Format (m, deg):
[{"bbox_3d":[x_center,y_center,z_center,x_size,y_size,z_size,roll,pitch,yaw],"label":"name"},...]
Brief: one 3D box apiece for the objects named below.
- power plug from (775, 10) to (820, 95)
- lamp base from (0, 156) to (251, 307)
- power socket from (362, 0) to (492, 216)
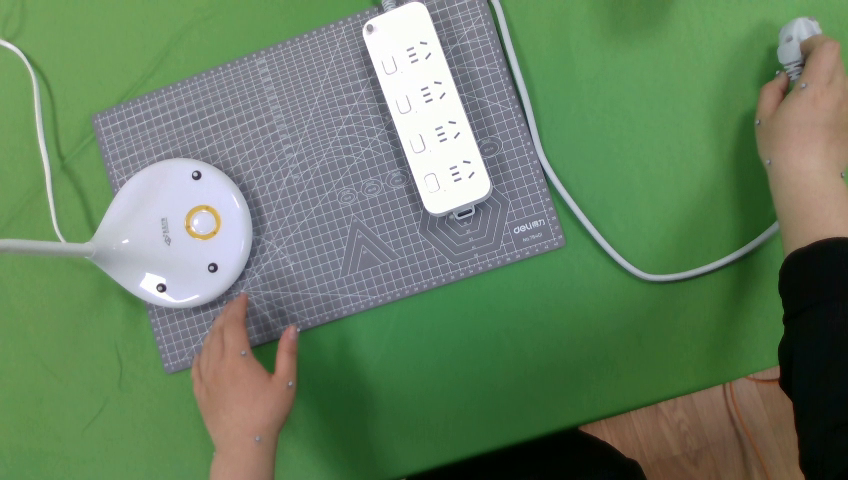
[{"bbox_3d":[0.345,-0.174,0.562,0.053,0.035,0.073,-20,109,-31],"label":"power plug"},{"bbox_3d":[-0.283,-0.006,0.572,0.179,0.180,0.160,-24,86,9],"label":"lamp base"},{"bbox_3d":[0.003,-0.133,0.610,0.072,0.032,0.226,-20,87,6],"label":"power socket"}]
